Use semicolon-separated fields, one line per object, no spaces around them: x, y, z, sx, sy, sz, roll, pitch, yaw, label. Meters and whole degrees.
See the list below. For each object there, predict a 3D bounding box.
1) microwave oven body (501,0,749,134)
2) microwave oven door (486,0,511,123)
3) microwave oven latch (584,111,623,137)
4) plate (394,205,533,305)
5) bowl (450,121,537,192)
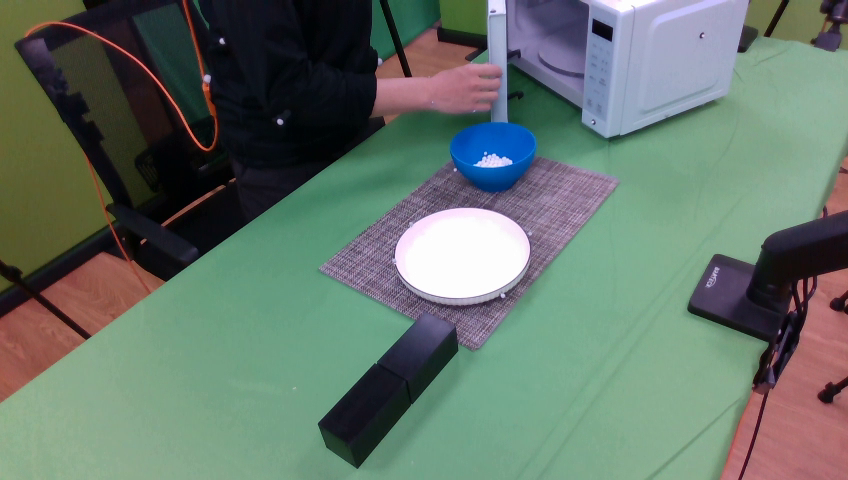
0.382;-0.444;1.246;0.327;0.261;0.437;-22;42;-16;microwave oven body
0.149;-0.404;1.223;0.039;0.245;0.354;-3;41;7;microwave oven door
0.337;-0.222;1.142;0.030;0.029;0.078;-21;42;-14;microwave oven latch
0.059;0.025;0.915;0.207;0.039;0.206;-4;41;4;plate
0.123;-0.138;1.064;0.151;0.077;0.150;-4;40;4;bowl
